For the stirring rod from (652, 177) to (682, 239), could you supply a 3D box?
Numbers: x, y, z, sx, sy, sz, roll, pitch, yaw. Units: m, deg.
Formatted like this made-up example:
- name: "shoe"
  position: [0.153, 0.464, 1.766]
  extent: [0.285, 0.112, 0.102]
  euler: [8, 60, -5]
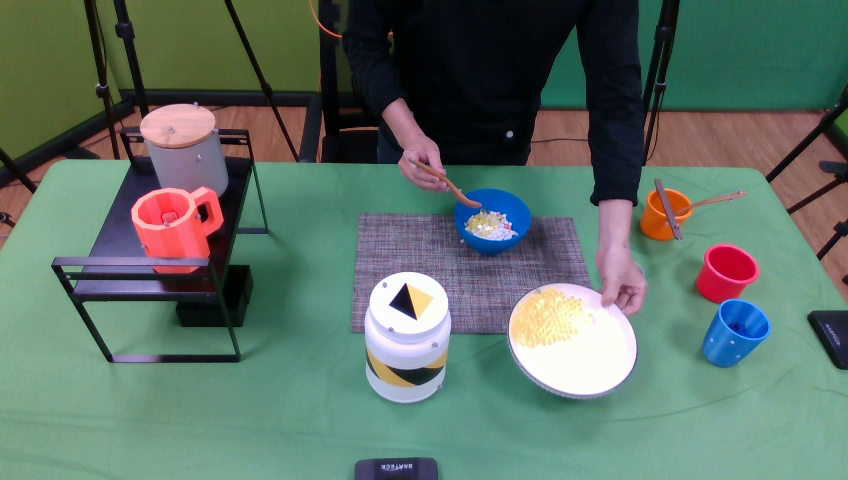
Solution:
- name: "stirring rod"
  position: [0.480, -0.066, 1.203]
  extent: [0.014, 0.006, 0.175]
  euler: [4, 47, -4]

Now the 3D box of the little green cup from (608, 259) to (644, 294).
- name: "little green cup"
  position: [0.379, 0.070, 1.147]
  extent: [0.061, 0.039, 0.061]
  euler: [3, 46, -2]

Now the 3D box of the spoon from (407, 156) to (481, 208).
- name: "spoon"
  position: [0.036, -0.101, 1.062]
  extent: [0.021, 0.195, 0.041]
  euler: [-56, 41, -1]

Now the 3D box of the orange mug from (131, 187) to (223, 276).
- name: "orange mug"
  position: [-0.354, -0.022, 0.888]
  extent: [0.083, 0.101, 0.126]
  euler: [31, 55, 24]

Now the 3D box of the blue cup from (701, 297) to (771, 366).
- name: "blue cup"
  position: [0.519, 0.162, 1.025]
  extent: [0.093, 0.101, 0.092]
  euler: [3, 45, -3]

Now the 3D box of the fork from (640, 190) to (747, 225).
- name: "fork"
  position: [0.533, -0.064, 1.211]
  extent: [0.207, 0.019, 0.028]
  euler: [-22, 28, 38]

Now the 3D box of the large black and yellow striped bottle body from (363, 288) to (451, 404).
- name: "large black and yellow striped bottle body"
  position: [-0.027, 0.153, 0.935]
  extent: [0.131, 0.185, 0.130]
  euler: [2, 46, -2]

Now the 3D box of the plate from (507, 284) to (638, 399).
- name: "plate"
  position: [0.237, 0.165, 0.982]
  extent: [0.209, 0.038, 0.208]
  euler: [2, 50, -2]

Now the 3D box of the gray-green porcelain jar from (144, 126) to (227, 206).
- name: "gray-green porcelain jar"
  position: [-0.375, -0.126, 0.967]
  extent: [0.106, 0.127, 0.105]
  euler: [2, 46, -2]

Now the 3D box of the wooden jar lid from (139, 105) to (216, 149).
- name: "wooden jar lid"
  position: [-0.372, -0.169, 0.920]
  extent: [0.108, 0.021, 0.107]
  euler: [4, 44, -4]

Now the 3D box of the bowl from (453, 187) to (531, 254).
- name: "bowl"
  position: [0.128, -0.026, 1.187]
  extent: [0.151, 0.077, 0.150]
  euler: [2, 46, -2]

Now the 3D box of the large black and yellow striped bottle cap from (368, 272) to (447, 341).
- name: "large black and yellow striped bottle cap"
  position: [-0.023, 0.093, 0.875]
  extent: [0.115, 0.019, 0.114]
  euler: [3, 46, -3]
